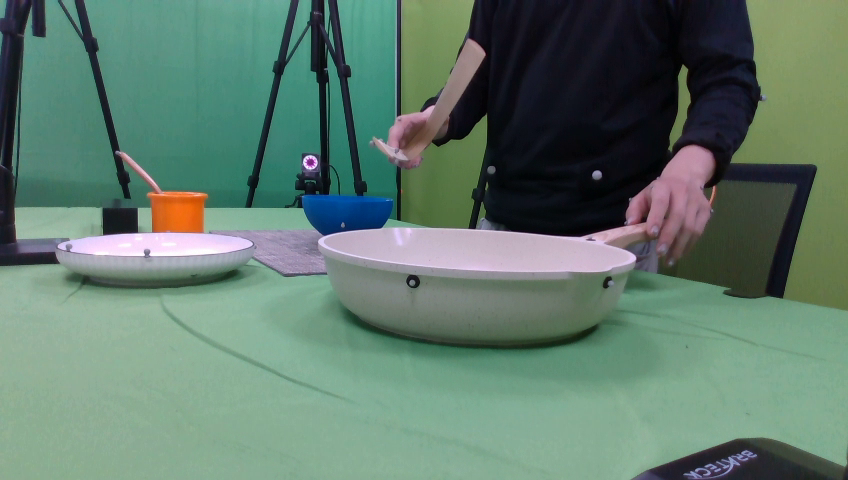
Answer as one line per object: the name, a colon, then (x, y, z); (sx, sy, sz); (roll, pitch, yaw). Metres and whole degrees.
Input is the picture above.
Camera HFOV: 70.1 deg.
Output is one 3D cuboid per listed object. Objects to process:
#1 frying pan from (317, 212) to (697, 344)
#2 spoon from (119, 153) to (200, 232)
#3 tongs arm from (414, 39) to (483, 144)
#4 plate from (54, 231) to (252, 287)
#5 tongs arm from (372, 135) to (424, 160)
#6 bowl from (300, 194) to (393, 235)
frying pan: (0.133, 0.013, 0.629); (0.490, 0.102, 0.305); (-12, 14, -31)
spoon: (-0.439, -0.077, 1.000); (0.021, 0.193, 0.042); (-43, -7, 21)
tongs arm: (0.026, -0.185, 0.807); (0.028, 0.028, 0.387); (39, -7, -4)
plate: (-0.309, 0.020, 0.705); (0.208, 0.039, 0.207); (3, 7, 0)
tongs arm: (-0.027, -0.130, 0.807); (0.026, 0.051, 0.384); (42, 4, -3)
bowl: (-0.128, -0.033, 0.995); (0.151, 0.077, 0.151); (2, 7, 0)
